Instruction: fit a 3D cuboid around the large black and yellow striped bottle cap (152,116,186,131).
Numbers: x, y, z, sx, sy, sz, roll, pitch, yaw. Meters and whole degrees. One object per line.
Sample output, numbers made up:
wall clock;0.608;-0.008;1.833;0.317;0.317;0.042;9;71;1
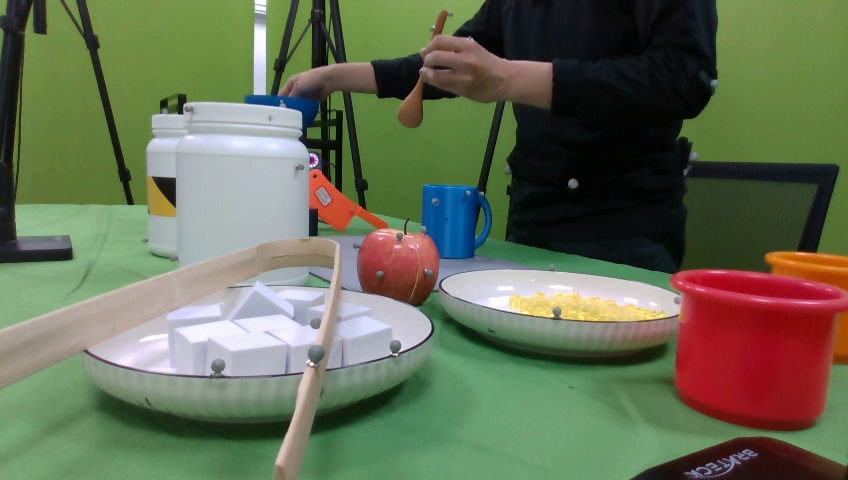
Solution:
large black and yellow striped bottle cap;-0.309;-0.155;0.826;0.115;0.019;0.115;3;6;0

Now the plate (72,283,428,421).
plate;-0.102;0.066;0.381;0.208;0.039;0.207;2;7;0

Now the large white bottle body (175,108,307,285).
large white bottle body;-0.188;-0.042;0.630;0.131;0.184;0.130;2;8;0

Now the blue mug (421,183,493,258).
blue mug;0.052;-0.032;0.912;0.117;0.106;0.082;-1;8;-24

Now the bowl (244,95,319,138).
bowl;-0.293;-0.251;1.249;0.151;0.077;0.151;2;7;0

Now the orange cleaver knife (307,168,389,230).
orange cleaver knife;-0.158;-0.060;1.166;0.212;0.077;0.012;34;-12;-32

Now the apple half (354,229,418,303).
apple half;-0.044;0.027;0.564;0.081;0.081;0.033;9;5;42

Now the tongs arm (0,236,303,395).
tongs arm;-0.157;0.038;0.351;0.028;0.028;0.388;-3;8;12

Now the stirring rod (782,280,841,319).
stirring rod;0.344;0.019;0.460;0.014;0.006;0.176;-13;-27;-30

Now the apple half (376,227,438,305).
apple half;-0.016;0.026;0.593;0.080;0.074;0.053;4;2;43

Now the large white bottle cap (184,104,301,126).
large white bottle cap;-0.184;-0.126;0.618;0.115;0.018;0.115;2;8;0

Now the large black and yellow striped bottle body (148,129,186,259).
large black and yellow striped bottle body;-0.310;-0.073;0.838;0.131;0.184;0.130;2;8;0

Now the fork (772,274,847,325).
fork;0.332;0.018;0.443;0.028;0.018;0.207;-1;-36;-15

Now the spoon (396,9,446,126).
spoon;-0.002;-0.245;0.880;0.041;0.193;0.021;23;38;2

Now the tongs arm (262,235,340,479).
tongs arm;-0.074;0.039;0.349;0.051;0.026;0.384;-2;10;-3

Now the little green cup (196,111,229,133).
little green cup;-0.403;-0.225;1.154;0.061;0.038;0.061;3;8;0

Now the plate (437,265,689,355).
plate;0.114;0.057;0.517;0.209;0.038;0.209;3;8;0
